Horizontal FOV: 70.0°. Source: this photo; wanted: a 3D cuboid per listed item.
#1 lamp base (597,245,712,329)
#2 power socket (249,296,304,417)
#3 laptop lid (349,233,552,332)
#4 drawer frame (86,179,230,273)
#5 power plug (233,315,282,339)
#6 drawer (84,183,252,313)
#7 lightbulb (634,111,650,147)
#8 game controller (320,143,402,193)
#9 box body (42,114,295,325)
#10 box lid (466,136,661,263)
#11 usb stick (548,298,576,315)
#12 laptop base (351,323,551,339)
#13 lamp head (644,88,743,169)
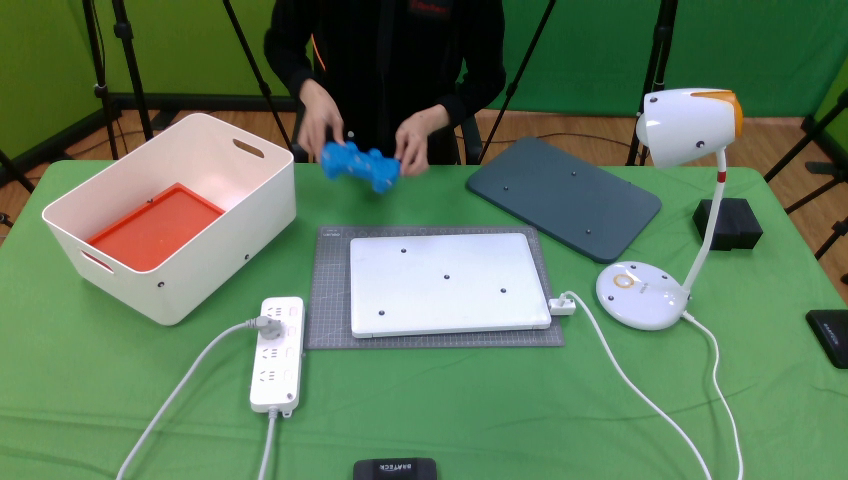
[{"bbox_3d":[0.418,0.051,1.071,0.179,0.181,0.160,22,49,13],"label":"lamp base"},{"bbox_3d":[-0.240,0.182,0.996,0.072,0.033,0.225,-2,47,-5],"label":"power socket"},{"bbox_3d":[0.040,0.071,1.118,0.357,0.013,0.240,-1,44,-5],"label":"laptop lid"},{"bbox_3d":[-0.453,0.010,1.100,0.201,0.083,0.213,28,55,23],"label":"drawer frame"},{"bbox_3d":[-0.271,0.144,0.999,0.072,0.053,0.035,5,47,3],"label":"power plug"},{"bbox_3d":[-0.457,0.008,1.099,0.194,0.073,0.211,29,49,21],"label":"drawer"},{"bbox_3d":[0.348,-0.163,0.852,0.059,0.060,0.107,-36,19,-32],"label":"lightbulb"},{"bbox_3d":[-0.120,-0.146,1.146,0.155,0.052,0.096,15,46,-2],"label":"game controller"},{"bbox_3d":[-0.437,-0.046,1.110,0.253,0.161,0.363,24,49,19],"label":"box body"},{"bbox_3d":[0.306,-0.102,1.327,0.370,0.015,0.263,32,51,25],"label":"box lid"},{"bbox_3d":[0.240,0.120,1.086,0.059,0.027,0.021,-2,51,-2],"label":"usb stick"},{"bbox_3d":[0.040,0.080,1.125,0.355,0.023,0.234,-2,43,-6],"label":"laptop base"},{"bbox_3d":[0.380,-0.161,0.851,0.122,0.113,0.112,-4,42,25],"label":"lamp head"}]
